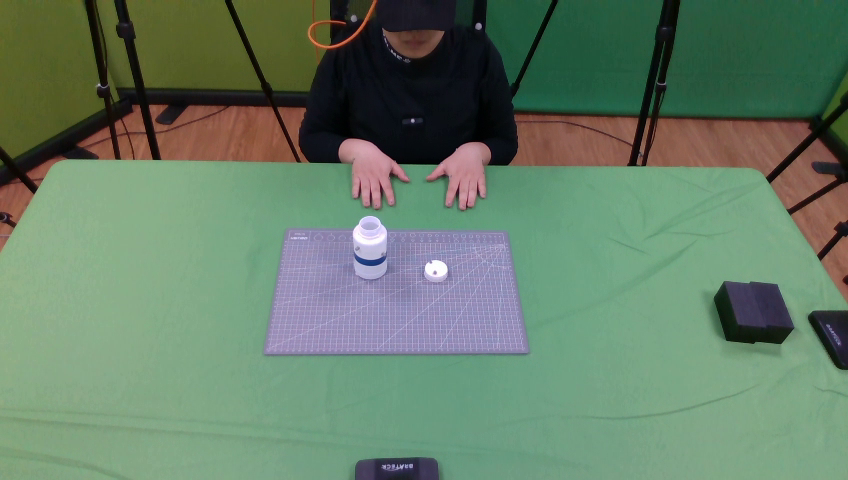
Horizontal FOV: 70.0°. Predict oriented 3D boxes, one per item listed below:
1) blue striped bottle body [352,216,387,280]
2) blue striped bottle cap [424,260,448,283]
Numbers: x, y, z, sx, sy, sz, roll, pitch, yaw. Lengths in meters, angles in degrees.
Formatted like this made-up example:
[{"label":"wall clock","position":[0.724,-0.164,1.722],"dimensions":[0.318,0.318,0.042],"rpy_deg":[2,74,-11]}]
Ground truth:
[{"label":"blue striped bottle body","position":[-0.100,0.012,1.107],"dimensions":[0.063,0.121,0.062],"rpy_deg":[2,46,-2]},{"label":"blue striped bottle cap","position":[0.022,0.059,1.146],"dimensions":[0.044,0.021,0.044],"rpy_deg":[2,47,-2]}]
